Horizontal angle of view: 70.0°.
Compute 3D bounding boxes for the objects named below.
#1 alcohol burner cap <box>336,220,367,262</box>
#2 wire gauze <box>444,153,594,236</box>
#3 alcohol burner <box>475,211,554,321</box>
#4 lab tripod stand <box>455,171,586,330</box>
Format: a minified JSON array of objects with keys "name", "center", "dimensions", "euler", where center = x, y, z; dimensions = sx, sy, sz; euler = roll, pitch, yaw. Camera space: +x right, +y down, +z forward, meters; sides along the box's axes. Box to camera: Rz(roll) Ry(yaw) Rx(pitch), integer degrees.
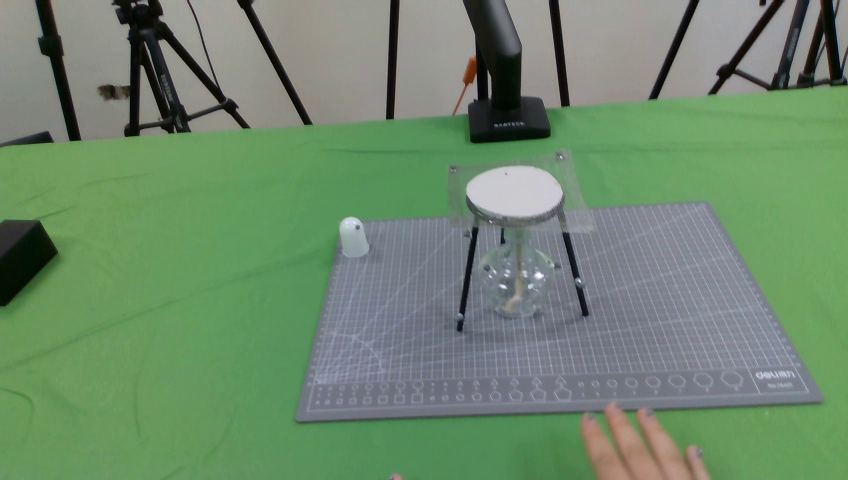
[{"name":"alcohol burner cap","center":[-0.086,-0.002,0.705],"dimensions":[0.034,0.048,0.033],"euler":[-3,39,3]},{"name":"wire gauze","center":[0.080,-0.042,0.547],"dimensions":[0.125,0.011,0.120],"euler":[-2,38,3]},{"name":"alcohol burner","center":[0.089,0.021,0.593],"dimensions":[0.078,0.120,0.077],"euler":[-2,38,2]},{"name":"lab tripod stand","center":[0.089,0.011,0.589],"dimensions":[0.148,0.132,0.147],"euler":[-2,37,2]}]
